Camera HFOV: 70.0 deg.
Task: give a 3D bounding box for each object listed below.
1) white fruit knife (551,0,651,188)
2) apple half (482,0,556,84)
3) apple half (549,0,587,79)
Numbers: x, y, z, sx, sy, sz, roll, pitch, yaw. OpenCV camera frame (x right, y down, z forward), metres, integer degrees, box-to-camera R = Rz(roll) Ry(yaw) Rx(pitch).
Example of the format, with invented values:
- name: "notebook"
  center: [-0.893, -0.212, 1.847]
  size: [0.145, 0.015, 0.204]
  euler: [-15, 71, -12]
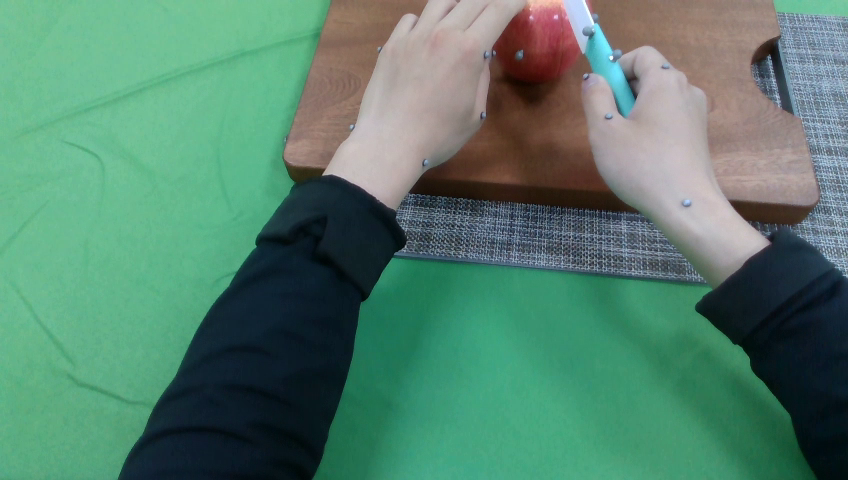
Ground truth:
- name: "white fruit knife"
  center: [0.111, -0.135, 0.423]
  size: [0.016, 0.027, 0.206]
  euler: [-17, 80, -22]
- name: "apple half"
  center: [0.073, -0.166, 0.484]
  size: [0.053, 0.075, 0.080]
  euler: [-6, 62, 4]
- name: "apple half"
  center: [0.112, -0.171, 0.483]
  size: [0.033, 0.082, 0.080]
  euler: [-7, 59, 4]
